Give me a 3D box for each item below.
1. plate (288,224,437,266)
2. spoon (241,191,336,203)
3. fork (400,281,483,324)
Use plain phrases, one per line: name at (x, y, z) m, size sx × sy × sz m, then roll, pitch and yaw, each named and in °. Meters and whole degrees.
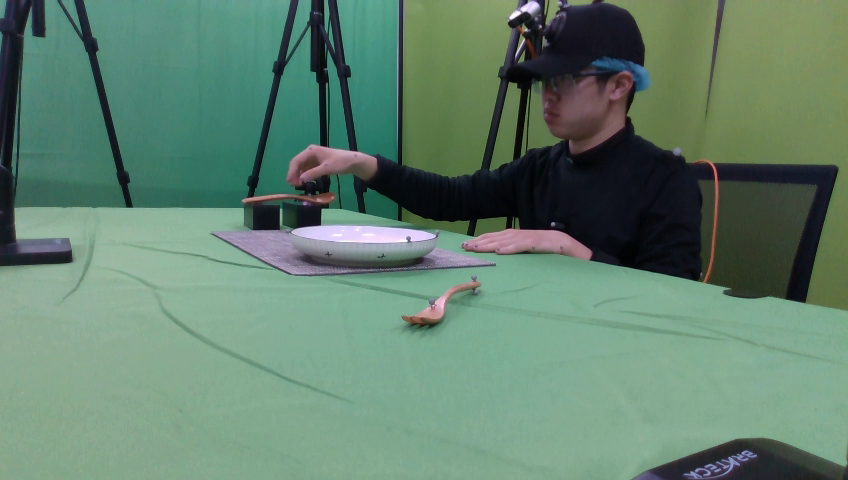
plate at (-0.086, 0.007, 0.852) m, size 0.208 × 0.039 × 0.207 m, roll 2°, pitch 7°, yaw 0°
spoon at (-0.271, -0.087, 1.225) m, size 0.195 × 0.021 × 0.041 m, roll -2°, pitch 31°, yaw -31°
fork at (0.025, 0.057, 0.590) m, size 0.028 × 0.018 × 0.208 m, roll -2°, pitch 7°, yaw 21°
